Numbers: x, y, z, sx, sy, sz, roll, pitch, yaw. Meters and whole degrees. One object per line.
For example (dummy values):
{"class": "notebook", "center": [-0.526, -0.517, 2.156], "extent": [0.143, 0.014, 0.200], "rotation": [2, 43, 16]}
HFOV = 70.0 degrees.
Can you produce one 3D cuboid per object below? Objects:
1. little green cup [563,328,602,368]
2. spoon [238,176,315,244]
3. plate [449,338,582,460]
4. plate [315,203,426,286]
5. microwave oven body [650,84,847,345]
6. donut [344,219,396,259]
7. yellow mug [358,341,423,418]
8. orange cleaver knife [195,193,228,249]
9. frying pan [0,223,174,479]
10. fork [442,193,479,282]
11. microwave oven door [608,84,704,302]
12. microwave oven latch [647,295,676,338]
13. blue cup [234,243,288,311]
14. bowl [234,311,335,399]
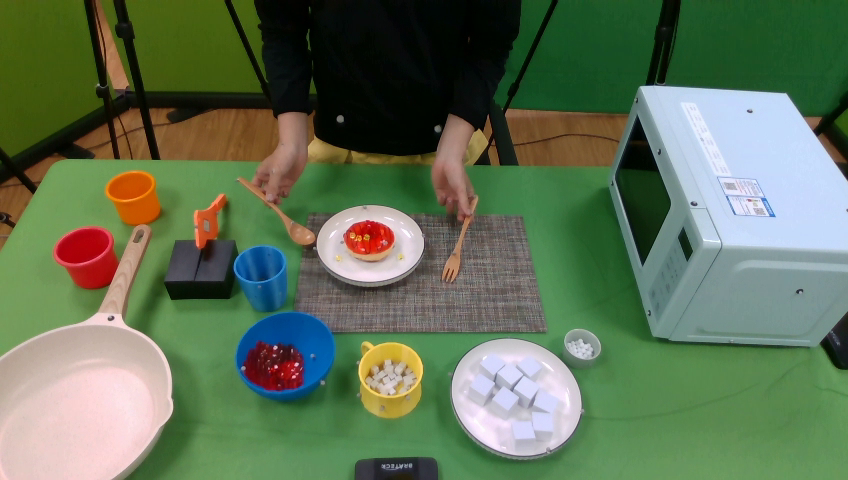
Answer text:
{"class": "little green cup", "center": [0.265, 0.184, 1.025], "extent": [0.061, 0.039, 0.061], "rotation": [1, 46, -1]}
{"class": "spoon", "center": [-0.284, -0.060, 1.162], "extent": [0.193, 0.021, 0.041], "rotation": [45, 54, 2]}
{"class": "plate", "center": [0.141, 0.251, 0.955], "extent": [0.208, 0.039, 0.206], "rotation": [2, 46, -2]}
{"class": "plate", "center": [-0.101, 0.012, 1.159], "extent": [0.209, 0.038, 0.208], "rotation": [2, 46, -2]}
{"class": "microwave oven body", "center": [0.569, -0.054, 1.116], "extent": [0.326, 0.261, 0.439], "rotation": [2, 46, -1]}
{"class": "donut", "center": [-0.102, -0.003, 1.157], "extent": [0.099, 0.048, 0.098], "rotation": [3, 43, -3]}
{"class": "yellow mug", "center": [-0.063, 0.210, 0.961], "extent": [0.100, 0.064, 0.130], "rotation": [-29, 54, -28]}
{"class": "orange cleaver knife", "center": [-0.406, -0.041, 1.163], "extent": [0.012, 0.077, 0.210], "rotation": [0, 18, -3]}
{"class": "frying pan", "center": [-0.505, 0.169, 0.941], "extent": [0.307, 0.103, 0.485], "rotation": [5, 54, -1]}
{"class": "fork", "center": [0.075, -0.009, 1.177], "extent": [0.028, 0.019, 0.206], "rotation": [14, 66, 13]}
{"class": "microwave oven door", "center": [0.424, -0.096, 1.138], "extent": [0.039, 0.245, 0.353], "rotation": [3, 46, -1]}
{"class": "microwave oven latch", "center": [0.413, 0.133, 1.060], "extent": [0.030, 0.029, 0.078], "rotation": [4, 46, 1]}
{"class": "blue cup", "center": [-0.276, 0.072, 1.052], "extent": [0.093, 0.101, 0.092], "rotation": [1, 48, -1]}
{"class": "bowl", "center": [-0.214, 0.194, 0.956], "extent": [0.151, 0.077, 0.150], "rotation": [2, 46, -2]}
